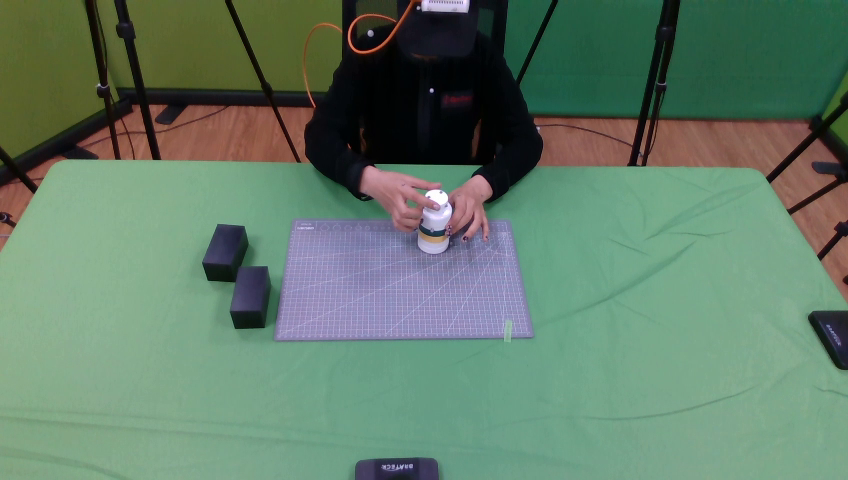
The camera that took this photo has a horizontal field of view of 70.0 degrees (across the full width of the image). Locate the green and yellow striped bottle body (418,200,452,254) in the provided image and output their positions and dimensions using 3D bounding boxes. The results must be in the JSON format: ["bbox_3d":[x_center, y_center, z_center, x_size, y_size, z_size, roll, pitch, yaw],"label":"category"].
[{"bbox_3d":[0.021,-0.036,1.160,0.063,0.120,0.063,2,46,-2],"label":"green and yellow striped bottle body"}]

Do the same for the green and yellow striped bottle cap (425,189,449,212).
[{"bbox_3d":[0.024,-0.074,1.120,0.045,0.020,0.045,2,46,-1],"label":"green and yellow striped bottle cap"}]
